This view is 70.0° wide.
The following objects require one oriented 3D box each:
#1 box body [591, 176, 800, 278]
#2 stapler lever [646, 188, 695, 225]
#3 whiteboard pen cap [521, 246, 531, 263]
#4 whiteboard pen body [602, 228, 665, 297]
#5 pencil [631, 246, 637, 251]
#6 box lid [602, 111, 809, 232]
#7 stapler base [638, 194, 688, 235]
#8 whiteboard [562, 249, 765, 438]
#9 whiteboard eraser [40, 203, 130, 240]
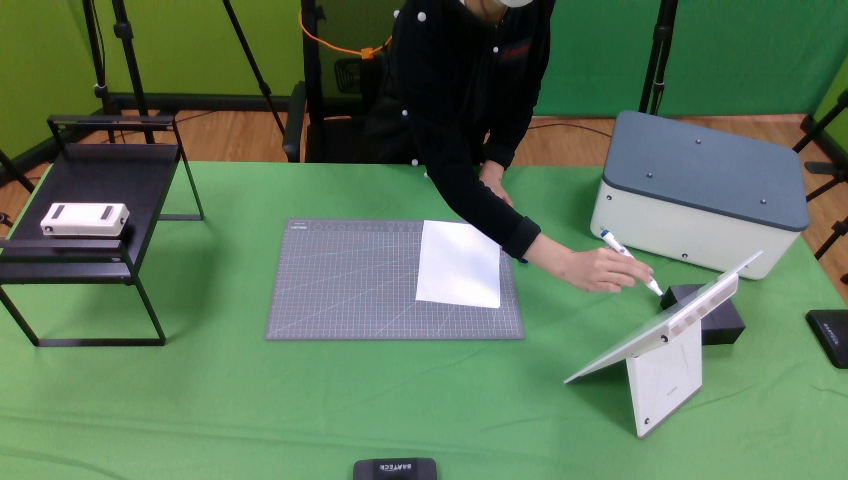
[{"bbox_3d":[0.539,-0.092,1.229,0.363,0.161,0.253,16,47,11],"label":"box body"},{"bbox_3d":[0.515,-0.078,1.265,0.027,0.040,0.117,-1,41,-30],"label":"stapler lever"},{"bbox_3d":[0.200,0.029,1.188,0.018,0.018,0.033,15,48,9],"label":"whiteboard pen cap"},{"bbox_3d":[0.334,0.038,0.962,0.017,0.017,0.140,-37,83,-32],"label":"whiteboard pen body"},{"bbox_3d":[0.431,-0.060,1.284,0.012,0.012,0.193,3,57,-2],"label":"pencil"},{"bbox_3d":[0.544,-0.143,1.176,0.371,0.015,0.262,15,47,11],"label":"box lid"},{"bbox_3d":[0.509,-0.059,1.278,0.041,0.024,0.129,-1,39,-30],"label":"stapler base"},{"bbox_3d":[0.386,0.175,0.905,0.217,0.306,0.143,-26,72,-26],"label":"whiteboard"},{"bbox_3d":[-0.513,-0.028,0.922,0.113,0.042,0.055,1,48,-3],"label":"whiteboard eraser"}]
